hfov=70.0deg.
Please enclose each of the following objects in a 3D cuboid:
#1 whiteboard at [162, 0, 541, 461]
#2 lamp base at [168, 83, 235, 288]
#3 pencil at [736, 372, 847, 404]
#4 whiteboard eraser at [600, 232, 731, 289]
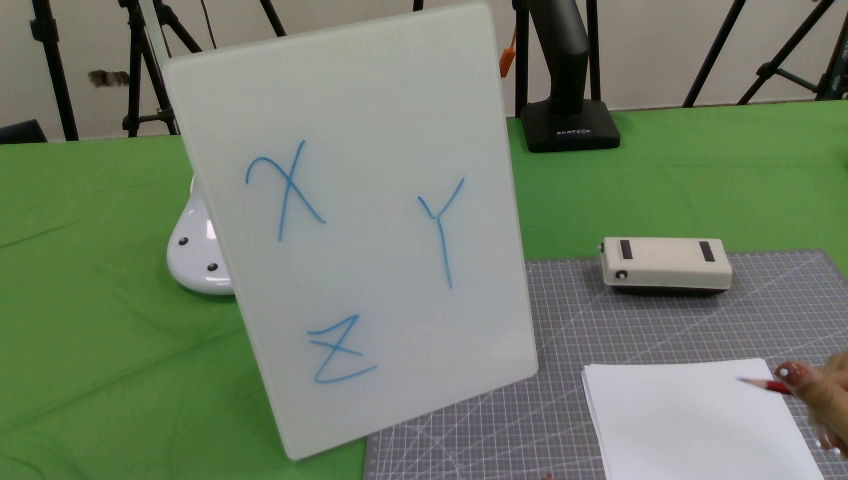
[{"bbox_3d":[-0.047,-0.018,0.499,0.217,0.307,0.142,-16,21,-12],"label":"whiteboard"},{"bbox_3d":[-0.214,-0.068,0.629,0.177,0.182,0.160,26,48,35],"label":"lamp base"},{"bbox_3d":[0.267,0.092,0.318,0.192,0.012,0.012,7,36,44],"label":"pencil"},{"bbox_3d":[0.230,0.020,0.584,0.112,0.042,0.055,2,41,8],"label":"whiteboard eraser"}]
